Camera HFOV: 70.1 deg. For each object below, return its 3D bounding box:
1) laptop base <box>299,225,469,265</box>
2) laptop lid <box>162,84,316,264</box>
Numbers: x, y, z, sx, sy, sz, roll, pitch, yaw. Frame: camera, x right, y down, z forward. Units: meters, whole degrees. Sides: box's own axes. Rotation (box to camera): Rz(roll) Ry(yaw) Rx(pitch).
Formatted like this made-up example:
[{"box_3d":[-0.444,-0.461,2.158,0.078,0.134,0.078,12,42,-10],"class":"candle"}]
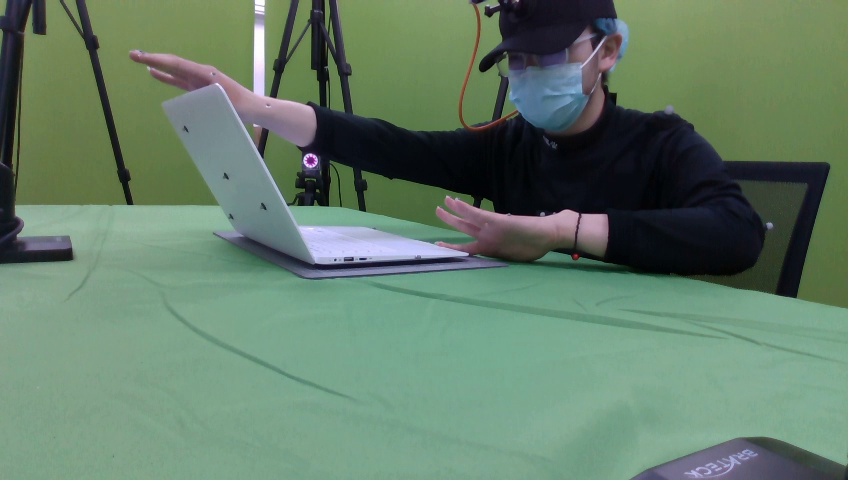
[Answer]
[{"box_3d":[-0.124,0.005,0.936,0.237,0.023,0.352,1,7,-33],"class":"laptop base"},{"box_3d":[-0.267,-0.090,0.830,0.013,0.242,0.355,-35,26,-24],"class":"laptop lid"}]
